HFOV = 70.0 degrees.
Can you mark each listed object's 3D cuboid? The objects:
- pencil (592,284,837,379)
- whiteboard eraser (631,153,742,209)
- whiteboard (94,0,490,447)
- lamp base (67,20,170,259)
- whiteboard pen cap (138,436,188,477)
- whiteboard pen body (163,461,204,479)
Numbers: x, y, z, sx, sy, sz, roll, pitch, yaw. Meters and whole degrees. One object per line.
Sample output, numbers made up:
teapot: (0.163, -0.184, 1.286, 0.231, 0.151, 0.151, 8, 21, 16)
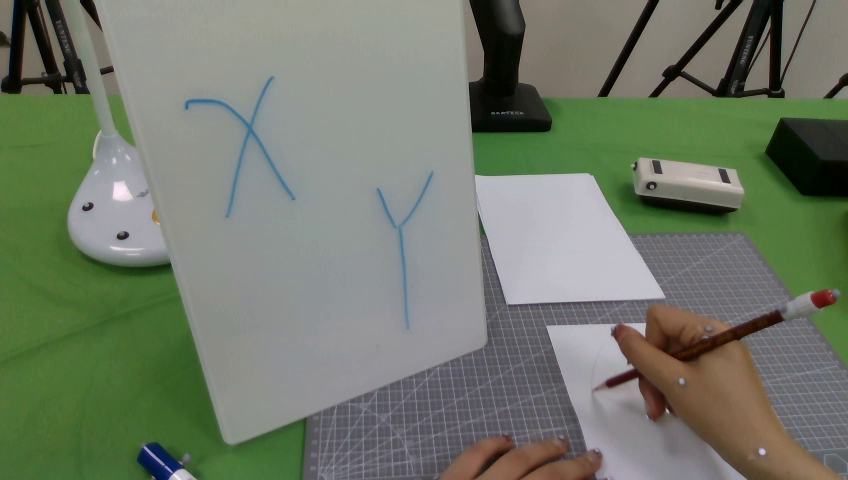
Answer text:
pencil: (0.179, 0.069, 0.406, 0.012, 0.194, 0.012, 14, 58, -24)
whiteboard eraser: (0.294, -0.066, 0.684, 0.112, 0.042, 0.055, 9, 42, 5)
whiteboard: (-0.086, -0.044, 0.461, 0.218, 0.307, 0.142, -16, 25, -22)
lamp base: (-0.272, -0.100, 0.561, 0.178, 0.182, 0.160, 25, 44, 27)
whiteboard pen cap: (-0.174, 0.146, 0.405, 0.033, 0.018, 0.018, 26, 44, 27)
whiteboard pen body: (-0.128, 0.170, 0.380, 0.140, 0.017, 0.017, 27, 45, 24)
